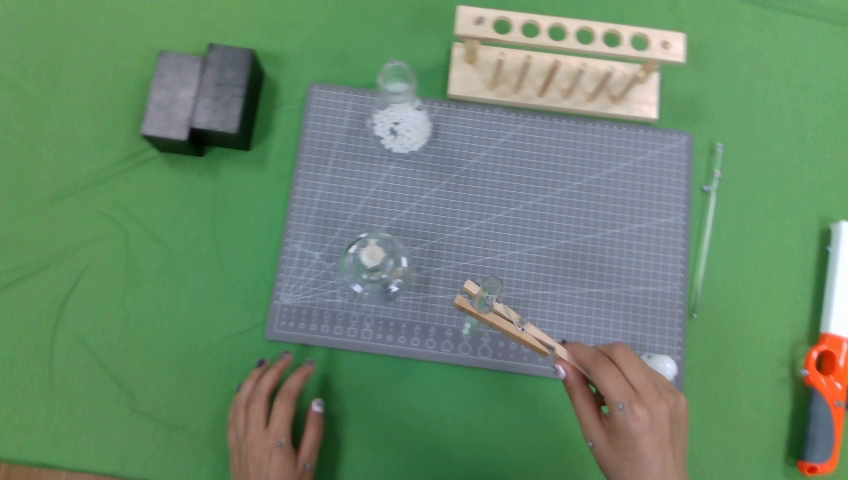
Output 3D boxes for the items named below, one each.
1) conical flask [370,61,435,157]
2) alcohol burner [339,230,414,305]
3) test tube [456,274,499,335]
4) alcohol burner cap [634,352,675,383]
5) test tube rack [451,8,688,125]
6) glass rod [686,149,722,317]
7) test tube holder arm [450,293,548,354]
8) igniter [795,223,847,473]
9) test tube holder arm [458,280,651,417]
[{"bbox_3d":[-0.023,-0.142,0.640,0.075,0.122,0.075,0,78,-1],"label":"conical flask"},{"bbox_3d":[-0.049,0.024,0.610,0.078,0.119,0.077,0,76,0],"label":"alcohol burner"},{"bbox_3d":[0.043,0.058,0.509,0.017,0.151,0.017,2,69,-4],"label":"test tube"},{"bbox_3d":[0.244,0.133,0.633,0.034,0.048,0.033,0,77,-2],"label":"alcohol burner cap"},{"bbox_3d":[0.156,-0.191,0.679,0.242,0.085,0.066,7,78,0],"label":"test tube rack"},{"bbox_3d":[0.317,-0.010,0.685,0.008,0.008,0.199,15,81,1],"label":"glass rod"},{"bbox_3d":[0.062,0.068,0.492,0.087,0.015,0.010,26,75,7],"label":"test tube holder arm"},{"bbox_3d":[0.440,0.114,0.654,0.057,0.025,0.275,18,78,-8],"label":"igniter"},{"bbox_3d":[0.103,0.086,0.487,0.178,0.015,0.013,33,77,8],"label":"test tube holder arm"}]
